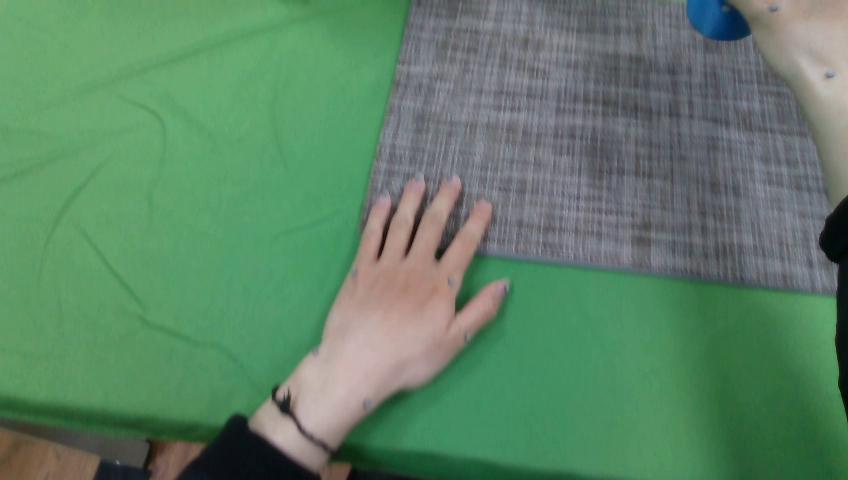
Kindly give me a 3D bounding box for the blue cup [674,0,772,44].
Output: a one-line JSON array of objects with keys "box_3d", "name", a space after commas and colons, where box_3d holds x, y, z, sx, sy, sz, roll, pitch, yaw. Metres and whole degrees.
[{"box_3d": [0.240, -0.210, 0.470, 0.092, 0.101, 0.092, -1, 63, 3], "name": "blue cup"}]
